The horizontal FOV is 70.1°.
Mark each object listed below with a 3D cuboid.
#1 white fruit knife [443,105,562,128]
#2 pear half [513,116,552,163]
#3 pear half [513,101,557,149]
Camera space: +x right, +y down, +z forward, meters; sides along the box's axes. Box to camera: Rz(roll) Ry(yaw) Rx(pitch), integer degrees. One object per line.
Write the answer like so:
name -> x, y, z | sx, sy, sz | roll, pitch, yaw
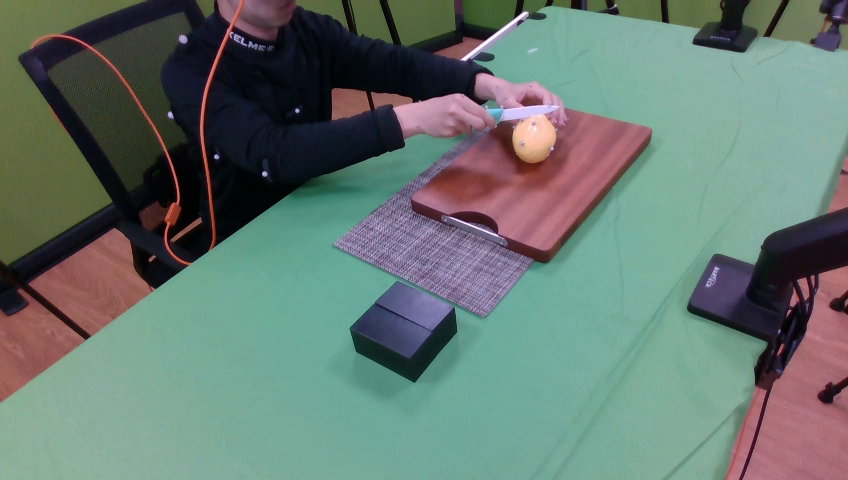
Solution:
white fruit knife -> 0.130, -0.215, 1.034 | 0.206, 0.027, 0.016 | -4, 46, 17
pear half -> 0.185, -0.167, 1.042 | 0.070, 0.088, 0.031 | 9, 44, 15
pear half -> 0.197, -0.198, 1.059 | 0.076, 0.110, 0.056 | 12, 42, 13
